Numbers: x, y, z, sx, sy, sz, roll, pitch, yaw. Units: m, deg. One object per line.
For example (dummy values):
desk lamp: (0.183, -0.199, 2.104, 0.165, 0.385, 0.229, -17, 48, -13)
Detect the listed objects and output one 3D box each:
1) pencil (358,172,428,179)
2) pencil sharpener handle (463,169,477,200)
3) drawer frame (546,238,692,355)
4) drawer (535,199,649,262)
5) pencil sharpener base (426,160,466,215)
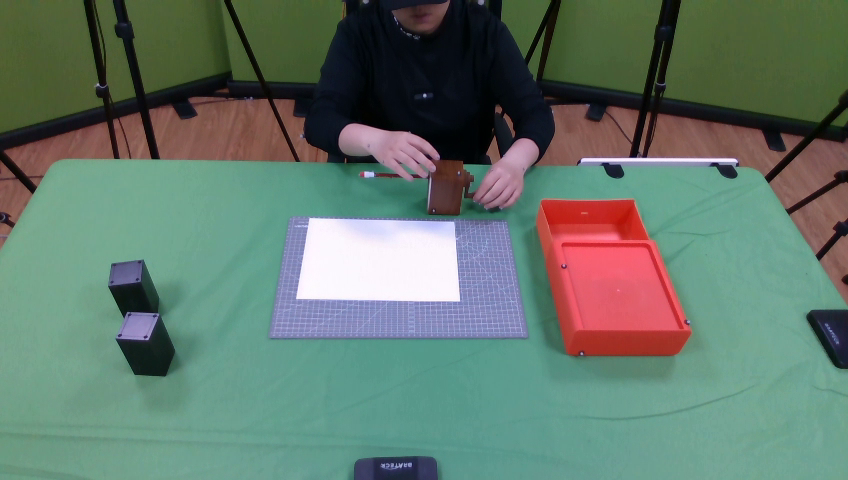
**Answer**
pencil: (-0.035, -0.128, 1.223, 0.194, 0.012, 0.012, 2, 45, -3)
pencil sharpener handle: (0.096, -0.112, 1.239, 0.031, 0.068, 0.036, 1, 36, -3)
drawer frame: (0.338, 0.097, 1.086, 0.202, 0.083, 0.212, 0, 46, -4)
drawer: (0.332, 0.015, 1.169, 0.195, 0.073, 0.210, 0, 46, -5)
pencil sharpener base: (0.044, -0.106, 1.246, 0.077, 0.107, 0.061, 1, 45, -4)
